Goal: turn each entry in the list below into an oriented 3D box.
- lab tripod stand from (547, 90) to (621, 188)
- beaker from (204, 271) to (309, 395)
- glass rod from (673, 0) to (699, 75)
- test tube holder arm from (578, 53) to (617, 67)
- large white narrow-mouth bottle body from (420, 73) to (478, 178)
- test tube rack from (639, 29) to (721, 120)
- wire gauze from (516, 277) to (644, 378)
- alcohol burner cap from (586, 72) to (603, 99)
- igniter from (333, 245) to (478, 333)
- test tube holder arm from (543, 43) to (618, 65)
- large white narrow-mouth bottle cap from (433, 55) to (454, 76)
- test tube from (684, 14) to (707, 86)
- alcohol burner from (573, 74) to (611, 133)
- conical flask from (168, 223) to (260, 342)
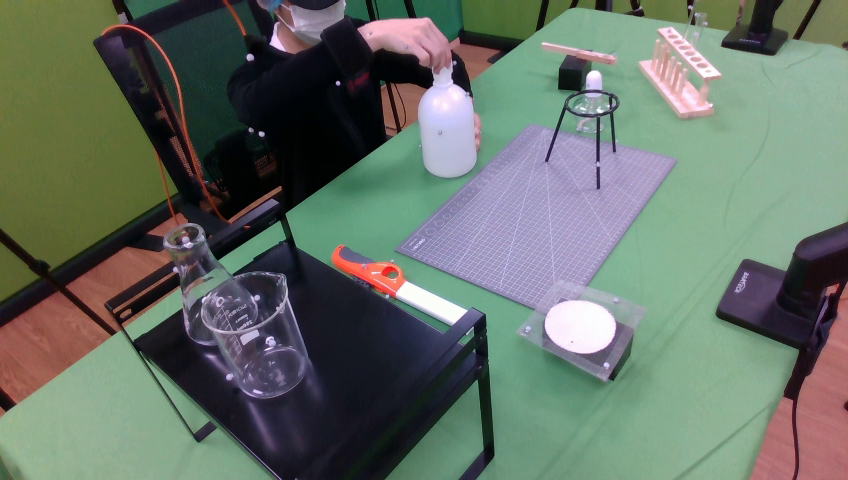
[{"bbox_3d":[0.289,-0.184,1.062,0.148,0.132,0.147,-6,41,6],"label":"lab tripod stand"},{"bbox_3d":[-0.149,0.088,0.565,0.073,0.101,0.084,21,47,29],"label":"beaker"},{"bbox_3d":[0.541,-0.427,1.246,0.008,0.200,0.008,0,48,1],"label":"glass rod"},{"bbox_3d":[0.376,-0.393,1.314,0.087,0.015,0.010,26,51,32],"label":"test tube holder arm"},{"bbox_3d":[0.043,-0.217,1.098,0.102,0.195,0.101,-4,40,4],"label":"large white narrow-mouth bottle body"},{"bbox_3d":[0.527,-0.351,1.262,0.067,0.085,0.241,-8,40,1],"label":"test tube rack"},{"bbox_3d":[0.197,0.103,0.765,0.124,0.011,0.122,23,50,32],"label":"wire gauze"},{"bbox_3d":[0.325,-0.297,1.154,0.034,0.048,0.033,-8,35,6],"label":"alcohol burner cap"},{"bbox_3d":[-0.038,0.068,0.905,0.274,0.025,0.057,24,60,32],"label":"igniter"},{"bbox_3d":[0.345,-0.413,1.341,0.177,0.015,0.013,25,50,31],"label":"test tube holder arm"},{"bbox_3d":[0.033,-0.298,1.029,0.038,0.024,0.037,-4,40,4],"label":"large white narrow-mouth bottle cap"},{"bbox_3d":[0.541,-0.379,1.216,0.017,0.151,0.017,-2,44,2],"label":"test tube"},{"bbox_3d":[0.330,-0.270,1.176,0.078,0.119,0.077,-4,43,4],"label":"alcohol burner"},{"bbox_3d":[-0.219,0.040,0.614,0.075,0.122,0.075,-5,40,4],"label":"conical flask"}]
